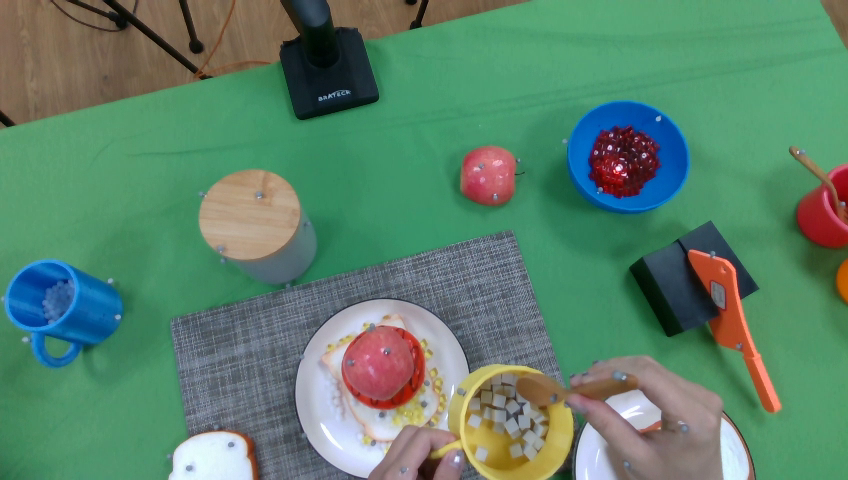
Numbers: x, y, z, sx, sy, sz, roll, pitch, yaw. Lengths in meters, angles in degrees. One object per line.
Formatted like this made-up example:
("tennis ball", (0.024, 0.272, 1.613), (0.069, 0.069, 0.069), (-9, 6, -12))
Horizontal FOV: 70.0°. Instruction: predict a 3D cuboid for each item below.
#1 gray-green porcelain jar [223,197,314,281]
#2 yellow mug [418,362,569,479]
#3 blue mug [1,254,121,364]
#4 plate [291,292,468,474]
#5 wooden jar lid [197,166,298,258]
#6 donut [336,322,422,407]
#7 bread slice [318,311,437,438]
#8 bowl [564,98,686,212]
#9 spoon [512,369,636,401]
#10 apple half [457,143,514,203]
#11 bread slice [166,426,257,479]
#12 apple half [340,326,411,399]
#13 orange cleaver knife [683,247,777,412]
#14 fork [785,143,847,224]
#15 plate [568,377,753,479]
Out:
("gray-green porcelain jar", (-0.192, -0.011, 0.730), (0.106, 0.127, 0.105), (0, 73, 0))
("yellow mug", (0.057, 0.166, 0.541), (0.131, 0.064, 0.099), (-19, 83, -9))
("blue mug", (-0.424, 0.086, 0.709), (0.082, 0.106, 0.116), (5, 73, 1))
("plate", (-0.051, 0.167, 0.721), (0.208, 0.039, 0.206), (0, 74, 0))
("wooden jar lid", (-0.193, -0.030, 0.669), (0.108, 0.021, 0.107), (1, 71, -2))
("donut", (-0.051, 0.143, 0.699), (0.099, 0.048, 0.098), (0, 74, 0))
("bread slice", (-0.047, 0.165, 0.723), (0.107, 0.018, 0.133), (-31, 76, -9))
("bowl", (0.249, -0.098, 0.786), (0.151, 0.077, 0.150), (0, 74, 0))
("spoon", (0.108, 0.109, 0.450), (0.041, 0.194, 0.021), (32, 74, -1))
("apple half", (0.082, -0.094, 0.797), (0.074, 0.053, 0.080), (6, 74, 4))
("bread slice", (-0.245, 0.282, 0.696), (0.105, 0.019, 0.131), (-7, 75, -4))
("apple half", (-0.054, 0.133, 0.664), (0.081, 0.033, 0.081), (-2, 70, 7))
("orange cleaver knife", (0.364, 0.105, 0.725), (0.012, 0.077, 0.212), (-25, 97, -15))
("fork", (0.490, -0.067, 0.744), (0.209, 0.018, 0.028), (29, 69, -36))
("plate", (0.268, 0.266, 0.699), (0.209, 0.038, 0.208), (0, 73, 0))
